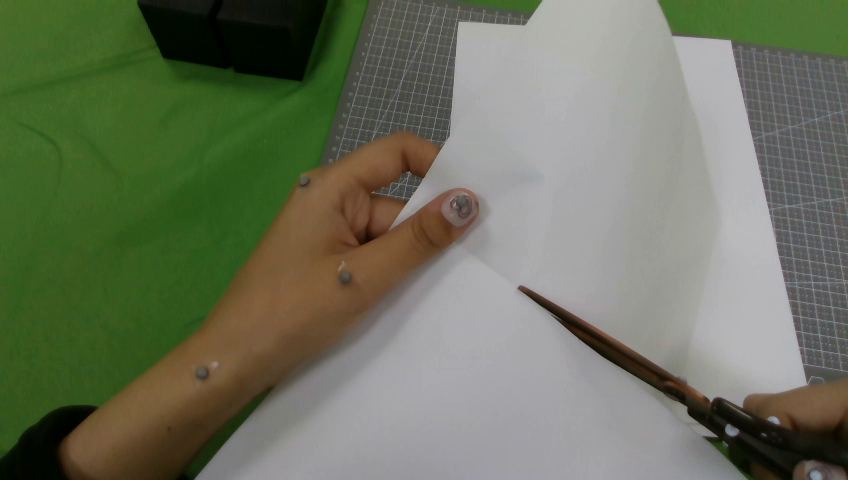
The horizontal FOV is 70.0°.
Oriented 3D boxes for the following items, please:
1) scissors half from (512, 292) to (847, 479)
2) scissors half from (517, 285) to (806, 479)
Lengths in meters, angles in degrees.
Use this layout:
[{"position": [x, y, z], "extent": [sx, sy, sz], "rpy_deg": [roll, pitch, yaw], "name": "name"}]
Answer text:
[{"position": [0.111, 0.062, 0.233], "extent": [0.174, 0.040, 0.013], "rpy_deg": [28, 72, 20], "name": "scissors half"}, {"position": [0.111, 0.067, 0.255], "extent": [0.175, 0.040, 0.013], "rpy_deg": [35, 78, -6], "name": "scissors half"}]
